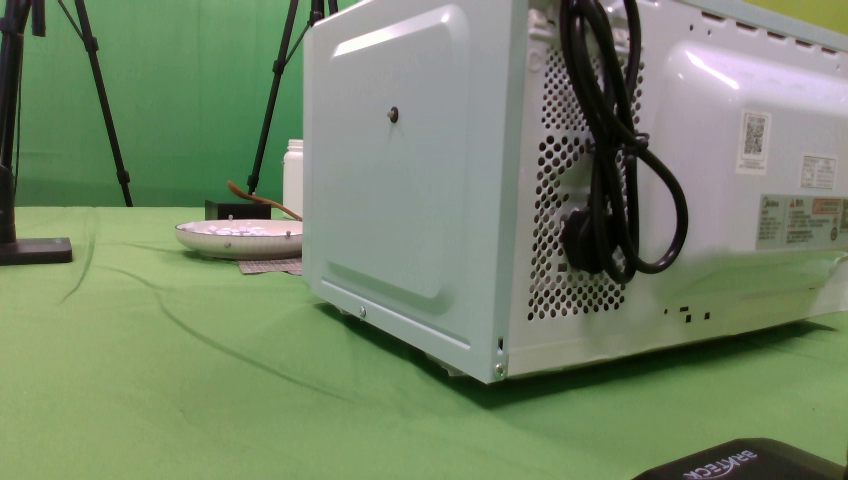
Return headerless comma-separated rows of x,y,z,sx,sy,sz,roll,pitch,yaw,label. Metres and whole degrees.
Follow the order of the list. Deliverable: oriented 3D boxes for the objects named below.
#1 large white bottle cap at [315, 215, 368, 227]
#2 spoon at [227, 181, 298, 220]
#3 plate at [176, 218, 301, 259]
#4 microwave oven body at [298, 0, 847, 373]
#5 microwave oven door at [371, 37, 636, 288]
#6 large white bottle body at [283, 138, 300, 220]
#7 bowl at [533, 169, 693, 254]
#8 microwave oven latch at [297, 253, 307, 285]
-0.178,-0.041,1.308,0.115,0.018,0.115,2,6,0,large white bottle cap
-0.315,-0.074,1.234,0.195,0.021,0.041,24,-10,-37,spoon
-0.248,-0.003,0.877,0.209,0.038,0.209,1,8,0,plate
0.151,-0.055,0.543,0.444,0.260,0.324,-1,7,-33,microwave oven body
0.109,-0.080,0.686,0.358,0.243,0.039,-2,9,-33,microwave oven door
-0.265,-0.143,1.424,0.131,0.184,0.130,2,7,0,large white bottle body
0.181,-0.030,0.596,0.151,0.077,0.151,1,7,0,bowl
-0.082,0.027,0.582,0.079,0.029,0.030,-1,7,-32,microwave oven latch
